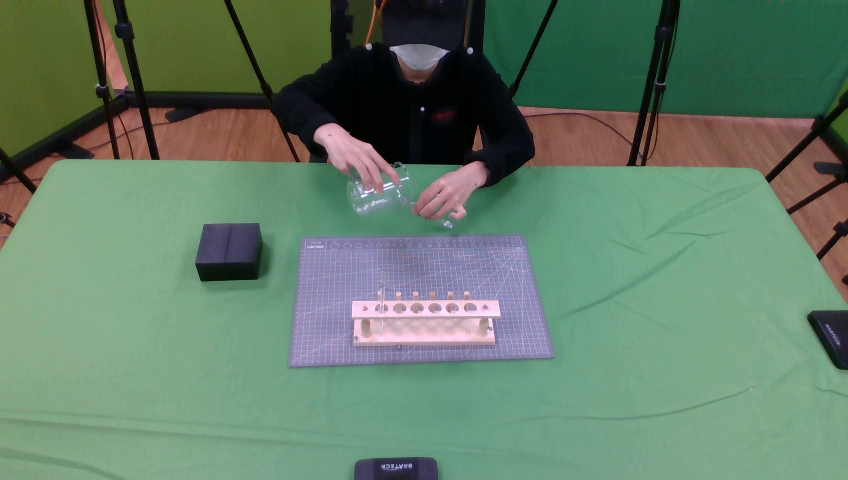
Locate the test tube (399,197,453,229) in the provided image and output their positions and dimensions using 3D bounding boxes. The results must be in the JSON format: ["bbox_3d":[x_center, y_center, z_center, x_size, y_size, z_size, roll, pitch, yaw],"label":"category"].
[{"bbox_3d":[0.006,-0.050,1.169,0.151,0.017,0.017,25,28,-44],"label":"test tube"}]

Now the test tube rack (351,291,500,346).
[{"bbox_3d":[0.000,0.129,1.026,0.242,0.085,0.066,0,46,-4],"label":"test tube rack"}]

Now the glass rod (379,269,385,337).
[{"bbox_3d":[-0.066,0.104,0.953,0.008,0.200,0.008,3,52,-3],"label":"glass rod"}]

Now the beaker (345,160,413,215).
[{"bbox_3d":[-0.082,-0.088,1.076,0.100,0.084,0.073,-21,38,-24],"label":"beaker"}]
